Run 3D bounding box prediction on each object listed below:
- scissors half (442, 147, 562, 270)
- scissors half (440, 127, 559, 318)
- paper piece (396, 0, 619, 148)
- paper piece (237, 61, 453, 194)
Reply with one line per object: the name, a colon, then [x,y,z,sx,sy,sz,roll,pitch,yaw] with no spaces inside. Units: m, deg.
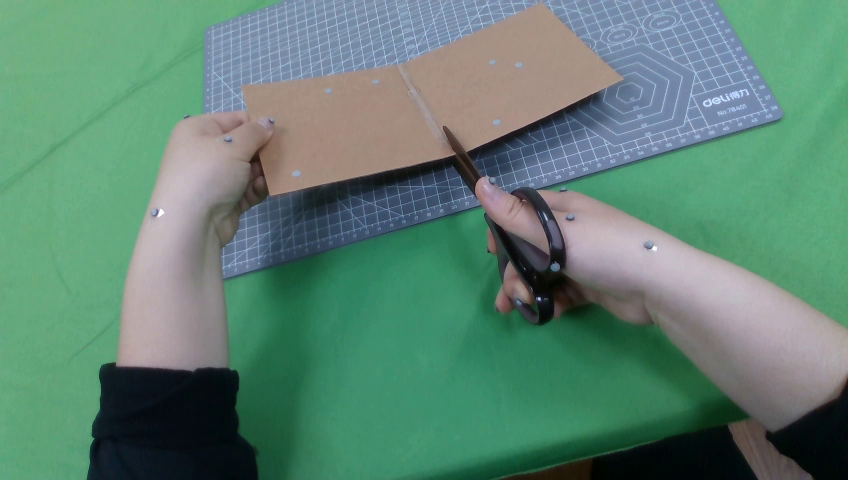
scissors half: [0.041,-0.035,0.391,0.013,0.040,0.173,-16,32,-14]
scissors half: [0.043,-0.020,0.406,0.013,0.040,0.173,-20,58,-10]
paper piece: [0.059,-0.138,0.480,0.135,0.004,0.134,-24,50,-2]
paper piece: [-0.065,-0.093,0.462,0.138,0.009,0.134,-15,45,-13]
